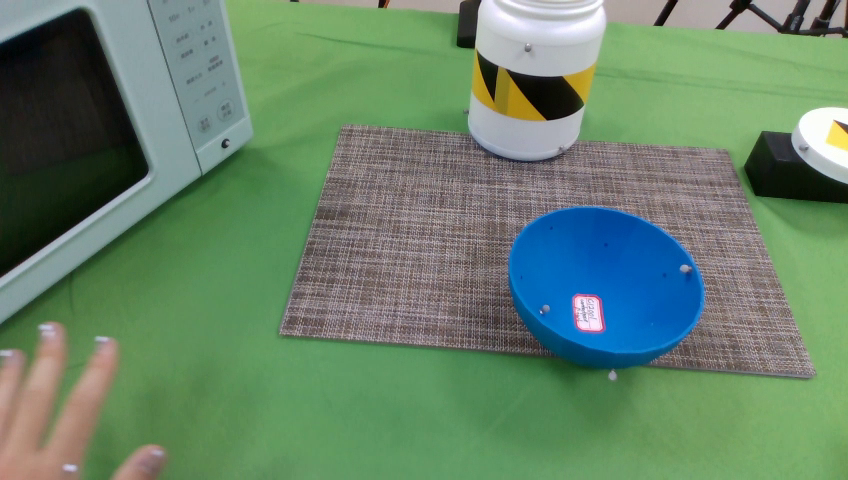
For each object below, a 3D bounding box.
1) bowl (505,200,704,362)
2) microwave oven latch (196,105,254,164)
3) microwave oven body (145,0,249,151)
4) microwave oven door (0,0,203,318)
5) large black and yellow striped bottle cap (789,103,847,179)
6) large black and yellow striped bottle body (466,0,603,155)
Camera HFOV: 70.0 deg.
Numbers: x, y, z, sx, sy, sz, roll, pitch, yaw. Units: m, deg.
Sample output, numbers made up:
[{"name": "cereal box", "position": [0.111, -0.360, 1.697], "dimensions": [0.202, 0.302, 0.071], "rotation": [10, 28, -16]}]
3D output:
[{"name": "bowl", "position": [0.138, 0.045, 0.499], "dimensions": [0.151, 0.077, 0.150], "rotation": [1, 47, -1]}, {"name": "microwave oven latch", "position": [-0.216, -0.115, 0.640], "dimensions": [0.030, 0.030, 0.079], "rotation": [28, 53, 21]}, {"name": "microwave oven body", "position": [-0.434, -0.131, 0.515], "dimensions": [0.324, 0.262, 0.440], "rotation": [26, 52, 19]}, {"name": "microwave oven door", "position": [-0.332, -0.050, 0.438], "dimensions": [0.039, 0.246, 0.354], "rotation": [25, 52, 20]}, {"name": "large black and yellow striped bottle cap", "position": [0.442, -0.103, 0.626], "dimensions": [0.115, 0.019, 0.114], "rotation": [0, 47, 0]}, {"name": "large black and yellow striped bottle body", "position": [0.116, -0.201, 0.653], "dimensions": [0.131, 0.185, 0.129], "rotation": [2, 44, -1]}]
